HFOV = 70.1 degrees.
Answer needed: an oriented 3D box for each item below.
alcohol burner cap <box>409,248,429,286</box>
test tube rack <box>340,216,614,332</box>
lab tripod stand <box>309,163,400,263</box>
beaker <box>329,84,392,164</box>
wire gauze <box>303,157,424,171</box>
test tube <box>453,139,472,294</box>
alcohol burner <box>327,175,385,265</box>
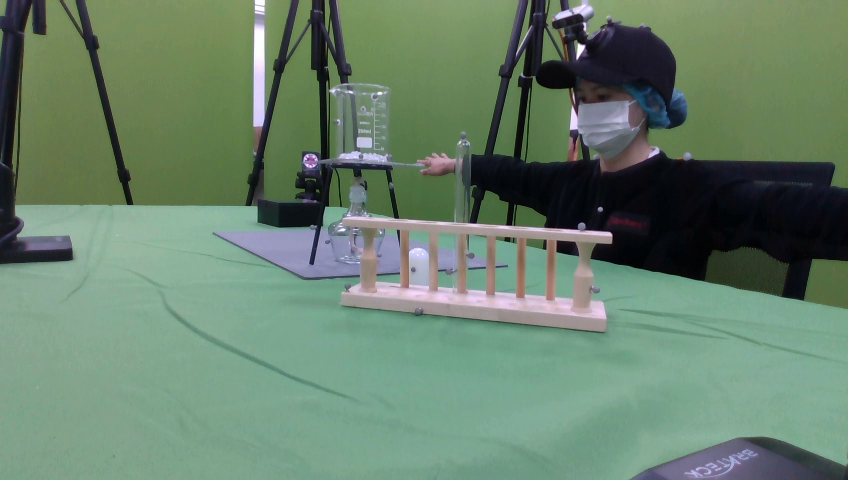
[{"bbox_3d":[-0.008,0.032,0.674,0.034,0.048,0.034,3,6,0],"label":"alcohol burner cap"},{"bbox_3d":[0.048,0.026,0.568,0.242,0.085,0.067,4,8,13],"label":"test tube rack"},{"bbox_3d":[-0.091,-0.037,0.813,0.148,0.131,0.148,1,6,0],"label":"lab tripod stand"},{"bbox_3d":[-0.084,-0.150,0.794,0.084,0.100,0.073,-1,6,-23],"label":"beaker"},{"bbox_3d":[-0.082,-0.102,0.799,0.126,0.011,0.121,1,7,-30],"label":"wire gauze"},{"bbox_3d":[0.037,-0.021,0.584,0.017,0.150,0.017,1,7,0],"label":"test tube"},{"bbox_3d":[-0.090,-0.027,0.811,0.078,0.119,0.078,3,5,0],"label":"alcohol burner"}]
